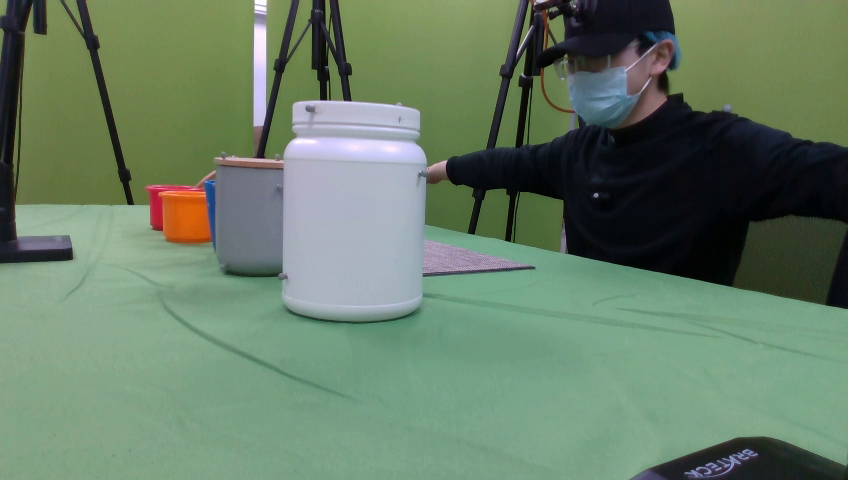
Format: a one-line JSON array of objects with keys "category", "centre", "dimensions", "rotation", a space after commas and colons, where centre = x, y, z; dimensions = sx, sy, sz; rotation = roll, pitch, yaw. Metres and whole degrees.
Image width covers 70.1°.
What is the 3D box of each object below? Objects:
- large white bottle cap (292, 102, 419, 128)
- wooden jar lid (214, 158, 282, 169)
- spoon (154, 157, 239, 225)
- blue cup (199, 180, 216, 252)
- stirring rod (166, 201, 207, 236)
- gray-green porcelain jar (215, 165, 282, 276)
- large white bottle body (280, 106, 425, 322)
[{"category": "large white bottle cap", "centre": [-0.061, -0.111, 0.547], "dimensions": [0.115, 0.018, 0.115], "rotation": [2, 8, 0]}, {"category": "wooden jar lid", "centre": [-0.193, -0.085, 0.719], "dimensions": [0.108, 0.020, 0.108], "rotation": [2, 9, 0]}, {"category": "spoon", "centre": [-0.411, -0.092, 1.105], "dimensions": [0.041, 0.022, 0.194], "rotation": [13, 56, 51]}, {"category": "blue cup", "centre": [-0.267, -0.032, 0.860], "dimensions": [0.093, 0.100, 0.092], "rotation": [2, 9, 0]}, {"category": "stirring rod", "centre": [-0.341, -0.066, 0.967], "dimensions": [0.176, 0.006, 0.014], "rotation": [-42, 23, -9]}, {"category": "gray-green porcelain jar", "centre": [-0.195, -0.024, 0.726], "dimensions": [0.106, 0.126, 0.106], "rotation": [3, 7, 0]}, {"category": "large white bottle body", "centre": [-0.065, -0.028, 0.559], "dimensions": [0.131, 0.184, 0.130], "rotation": [2, 7, 0]}]
